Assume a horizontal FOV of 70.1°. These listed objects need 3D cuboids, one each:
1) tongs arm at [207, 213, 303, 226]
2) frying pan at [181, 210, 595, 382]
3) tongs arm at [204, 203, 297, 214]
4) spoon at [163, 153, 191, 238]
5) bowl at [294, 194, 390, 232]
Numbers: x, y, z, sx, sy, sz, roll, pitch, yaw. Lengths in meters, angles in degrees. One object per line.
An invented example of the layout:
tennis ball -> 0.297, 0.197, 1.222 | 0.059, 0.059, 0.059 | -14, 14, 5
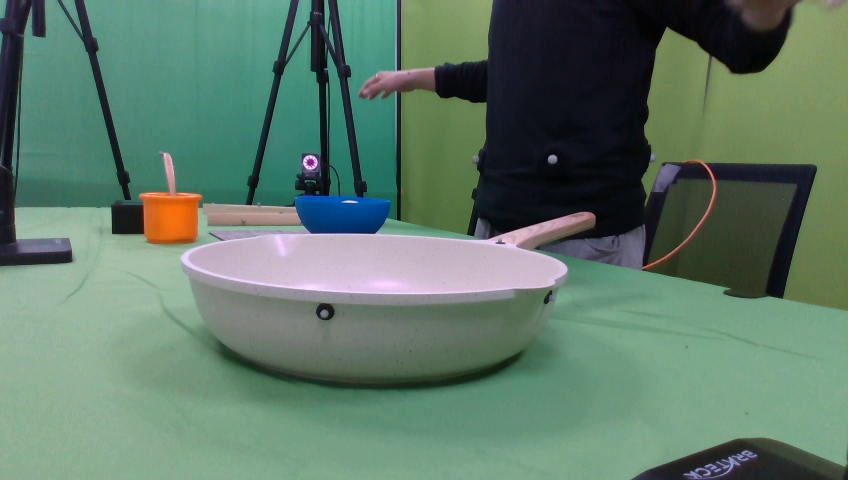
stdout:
tongs arm -> -0.264, -0.046, 1.297 | 0.390, 0.028, 0.028 | -2, 7, -32
frying pan -> 0.034, 0.019, 0.557 | 0.305, 0.102, 0.490 | 10, 19, 42
tongs arm -> -0.295, -0.062, 1.370 | 0.386, 0.026, 0.050 | 1, 9, -19
spoon -> -0.413, -0.077, 0.996 | 0.042, 0.193, 0.021 | 2, -38, -32
bowl -> -0.130, -0.029, 0.956 | 0.151, 0.077, 0.151 | 3, 7, 0
